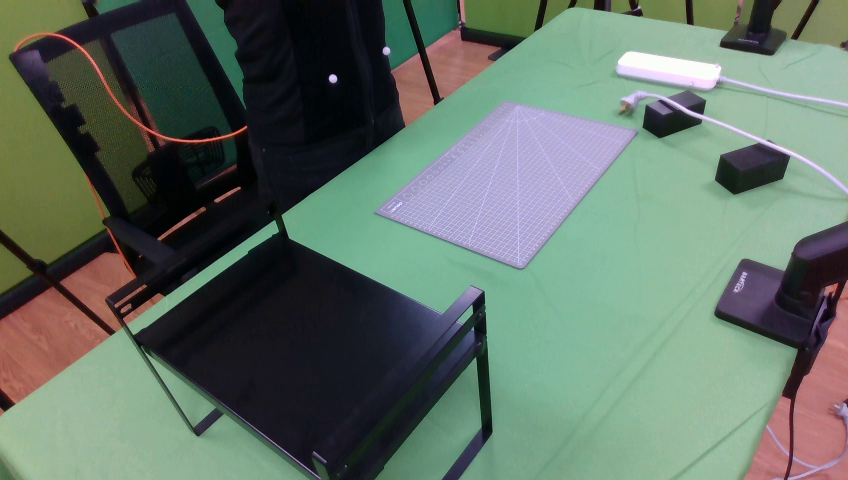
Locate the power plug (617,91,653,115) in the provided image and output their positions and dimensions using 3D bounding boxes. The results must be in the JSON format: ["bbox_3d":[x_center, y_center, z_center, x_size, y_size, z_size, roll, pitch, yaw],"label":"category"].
[{"bbox_3d":[0.414,-0.273,1.206,0.052,0.035,0.072,-55,8,2],"label":"power plug"}]

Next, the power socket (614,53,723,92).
[{"bbox_3d":[0.528,-0.367,1.317,0.225,0.033,0.072,20,49,29],"label":"power socket"}]
